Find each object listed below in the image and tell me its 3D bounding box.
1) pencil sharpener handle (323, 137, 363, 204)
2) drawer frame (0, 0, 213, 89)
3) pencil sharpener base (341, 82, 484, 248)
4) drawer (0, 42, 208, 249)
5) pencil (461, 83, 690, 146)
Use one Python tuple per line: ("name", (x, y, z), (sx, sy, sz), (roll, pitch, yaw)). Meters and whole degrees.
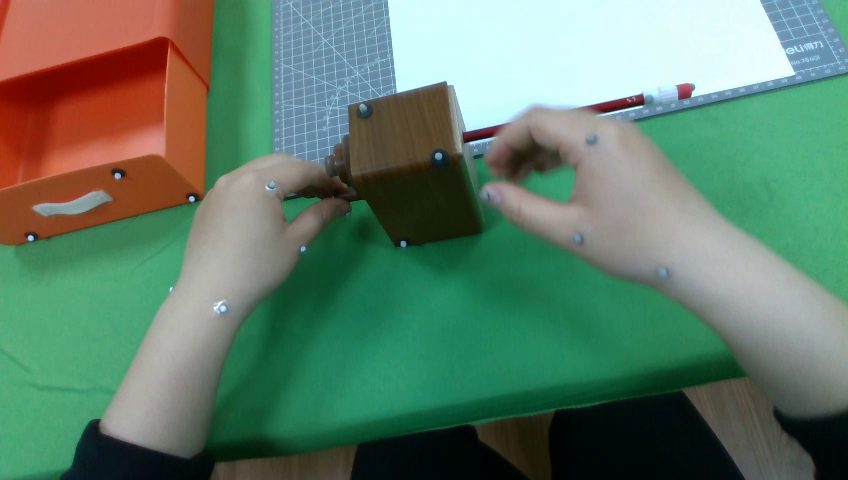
("pencil sharpener handle", (-0.058, -0.042, 0.415), (0.030, 0.068, 0.035), (-12, 69, 9))
("drawer frame", (-0.312, -0.217, 0.587), (0.201, 0.083, 0.211), (-13, 62, 8))
("pencil sharpener base", (-0.005, -0.046, 0.417), (0.076, 0.108, 0.061), (-12, 63, 9))
("drawer", (-0.295, -0.113, 0.536), (0.194, 0.074, 0.210), (-13, 62, 8))
("pencil", (0.067, -0.072, 0.381), (0.194, 0.012, 0.012), (-12, 63, 9))
